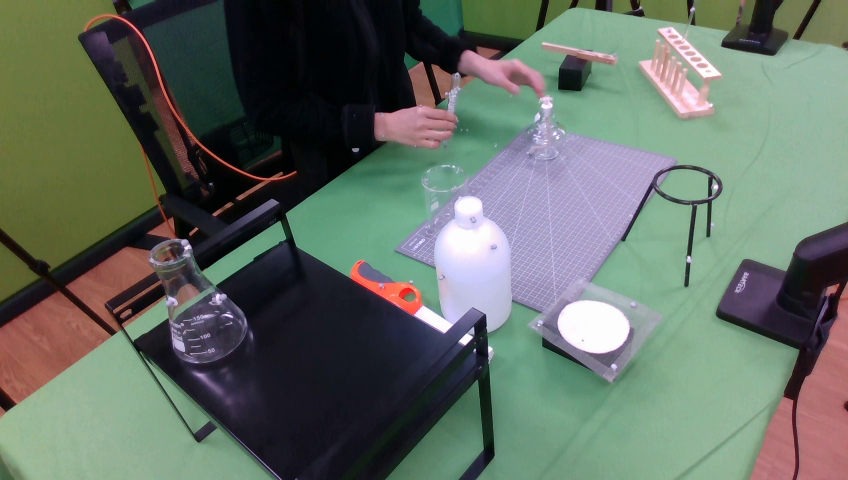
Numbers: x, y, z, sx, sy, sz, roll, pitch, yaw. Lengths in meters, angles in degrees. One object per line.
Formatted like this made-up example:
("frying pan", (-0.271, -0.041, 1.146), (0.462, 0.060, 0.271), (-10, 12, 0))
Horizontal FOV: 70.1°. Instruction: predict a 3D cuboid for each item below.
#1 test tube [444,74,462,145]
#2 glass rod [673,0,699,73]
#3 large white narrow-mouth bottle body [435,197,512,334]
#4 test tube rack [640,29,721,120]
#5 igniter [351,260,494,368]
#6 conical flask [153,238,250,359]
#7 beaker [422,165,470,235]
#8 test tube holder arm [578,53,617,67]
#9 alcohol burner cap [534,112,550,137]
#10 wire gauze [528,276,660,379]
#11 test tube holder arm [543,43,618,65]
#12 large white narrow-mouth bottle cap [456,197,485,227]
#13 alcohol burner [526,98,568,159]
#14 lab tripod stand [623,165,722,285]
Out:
("test tube", (0.051, -0.234, 1.102), (0.017, 0.150, 0.017), (4, 47, -4))
("glass rod", (0.538, -0.425, 1.245), (0.008, 0.200, 0.008), (0, 47, 0))
("large white narrow-mouth bottle body", (0.066, 0.029, 0.805), (0.102, 0.195, 0.101), (-4, 40, 4))
("test tube rack", (0.527, -0.351, 1.262), (0.067, 0.085, 0.241), (-8, 40, 1))
("igniter", (-0.013, 0.099, 0.864), (0.274, 0.025, 0.057), (30, 65, 36))
("conical flask", (-0.225, 0.055, 0.597), (0.075, 0.122, 0.075), (-5, 41, 4))
("beaker", (0.041, -0.063, 0.986), (0.073, 0.101, 0.084), (20, 47, 29))
("test tube holder arm", (0.376, -0.393, 1.314), (0.087, 0.015, 0.010), (26, 51, 32))
("alcohol burner cap", (0.234, -0.231, 1.197), (0.034, 0.048, 0.033), (-4, 39, 3))
("wire gauze", (0.214, 0.103, 0.763), (0.124, 0.011, 0.122), (30, 52, 35))
("test tube holder arm", (0.345, -0.413, 1.340), (0.177, 0.015, 0.013), (25, 51, 31))
("large white narrow-mouth bottle cap", (0.057, -0.036, 0.750), (0.038, 0.024, 0.037), (-4, 40, 4))
("alcohol burner", (0.228, -0.210, 1.118), (0.078, 0.119, 0.077), (-5, 43, 5))
("lab tripod stand", (0.365, -0.030, 0.874), (0.148, 0.132, 0.147), (-6, 41, 6))
